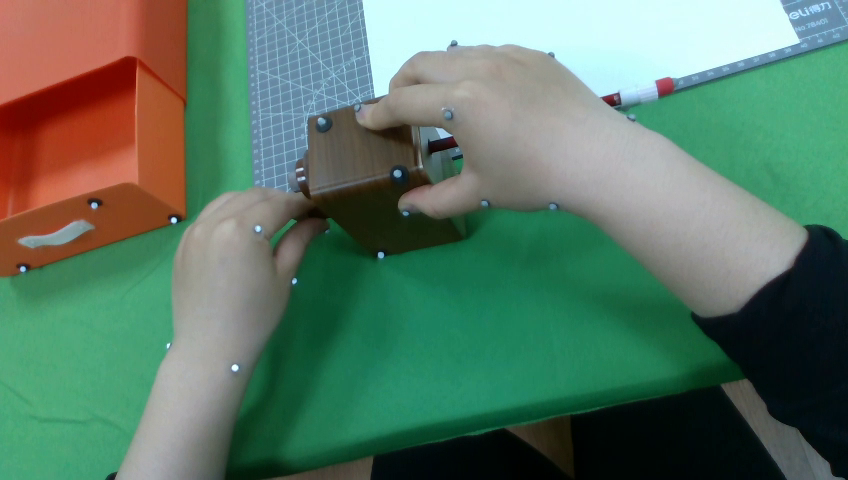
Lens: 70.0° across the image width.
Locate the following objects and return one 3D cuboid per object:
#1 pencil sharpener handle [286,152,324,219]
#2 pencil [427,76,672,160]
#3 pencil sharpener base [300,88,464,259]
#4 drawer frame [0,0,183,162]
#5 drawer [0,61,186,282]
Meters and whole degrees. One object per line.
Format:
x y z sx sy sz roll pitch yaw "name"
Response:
-0.077 -0.030 0.397 0.030 0.068 0.035 -14 70 13 "pencil sharpener handle"
0.044 -0.062 0.354 0.194 0.012 0.012 -15 65 12 "pencil"
-0.025 -0.037 0.397 0.076 0.108 0.061 -14 65 13 "pencil sharpener base"
-0.333 -0.194 0.573 0.201 0.083 0.211 -17 64 12 "drawer frame"
-0.310 -0.089 0.527 0.194 0.074 0.210 -17 64 12 "drawer"
